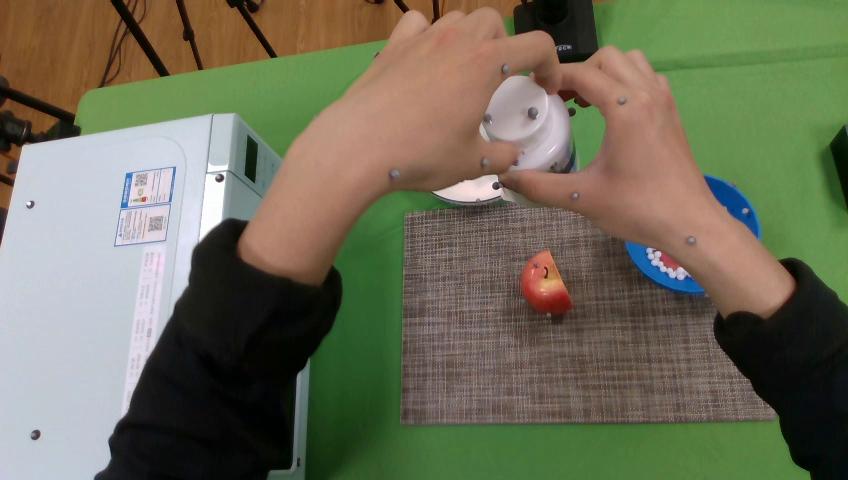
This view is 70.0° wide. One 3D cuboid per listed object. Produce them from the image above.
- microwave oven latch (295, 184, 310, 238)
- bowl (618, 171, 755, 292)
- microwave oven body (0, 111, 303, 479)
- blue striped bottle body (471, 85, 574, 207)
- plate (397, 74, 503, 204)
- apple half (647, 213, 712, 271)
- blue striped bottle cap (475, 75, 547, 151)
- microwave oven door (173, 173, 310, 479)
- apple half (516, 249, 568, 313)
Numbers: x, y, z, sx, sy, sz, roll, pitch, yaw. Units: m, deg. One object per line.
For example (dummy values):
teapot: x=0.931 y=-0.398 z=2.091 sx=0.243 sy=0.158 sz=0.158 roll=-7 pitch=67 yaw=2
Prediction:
microwave oven latch: x=-0.185 y=-0.042 z=0.893 sx=0.030 sy=0.030 sz=0.078 roll=-6 pitch=71 yaw=11
bowl: x=0.315 y=-0.001 z=0.748 sx=0.151 sy=0.077 sz=0.150 roll=-5 pitch=70 yaw=13
microwave oven body: x=-0.348 y=0.107 z=0.776 sx=0.325 sy=0.262 sz=0.438 roll=-6 pitch=71 yaw=11
blue striped bottle body: x=0.071 y=-0.068 z=0.431 sx=0.063 sy=0.122 sz=0.063 roll=-4 pitch=77 yaw=17
plate: x=0.064 y=-0.144 z=0.887 sx=0.207 sy=0.039 sz=0.206 roll=-4 pitch=71 yaw=12
apple half: x=0.315 y=-0.001 z=0.743 sx=0.081 sy=0.033 sz=0.080 roll=-5 pitch=68 yaw=12
blue striped bottle cap: x=0.055 y=-0.081 z=0.382 sx=0.044 sy=0.021 sz=0.044 roll=-3 pitch=79 yaw=16
microwave oven door: x=-0.205 y=0.129 z=0.728 sx=0.039 sy=0.246 sz=0.353 roll=-7 pitch=70 yaw=12
apple half: x=0.145 y=0.058 z=0.773 sx=0.053 sy=0.075 sz=0.080 roll=-24 pitch=71 yaw=9
